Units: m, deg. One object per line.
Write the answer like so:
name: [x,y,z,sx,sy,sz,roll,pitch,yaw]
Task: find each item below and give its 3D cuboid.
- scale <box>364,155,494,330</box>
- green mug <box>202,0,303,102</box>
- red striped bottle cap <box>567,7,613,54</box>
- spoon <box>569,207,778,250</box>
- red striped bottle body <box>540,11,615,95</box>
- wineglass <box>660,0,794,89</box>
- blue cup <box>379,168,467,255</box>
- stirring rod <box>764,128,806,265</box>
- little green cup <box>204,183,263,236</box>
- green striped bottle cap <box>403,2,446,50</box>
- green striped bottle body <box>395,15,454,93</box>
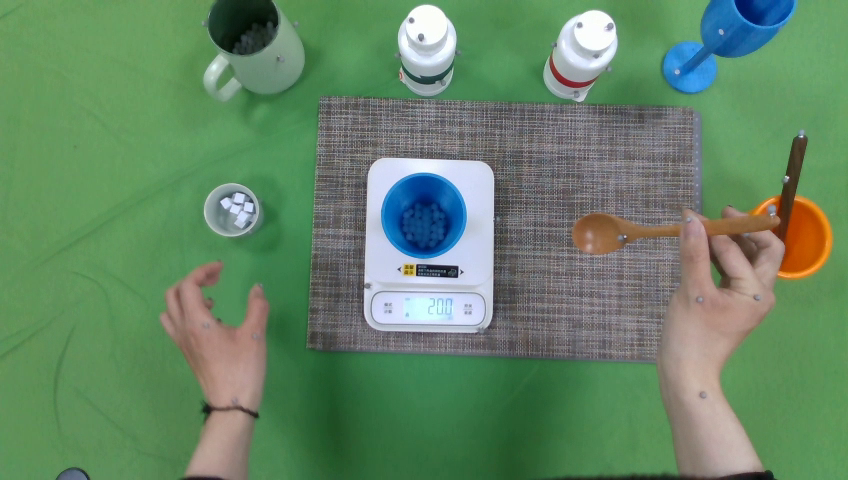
scale: [0.006,0.002,0.697,0.149,0.031,0.200,1,85,0]
green mug: [-0.200,-0.210,0.683,0.092,0.105,0.125,37,86,3]
red striped bottle cap: [0.171,-0.215,0.622,0.044,0.018,0.044,0,82,0]
spoon: [0.200,-0.012,0.515,0.022,0.192,0.042,-18,98,-30]
red striped bottle body: [0.171,-0.211,0.675,0.063,0.120,0.063,0,85,0]
wineglass: [0.316,-0.223,0.649,0.074,0.172,0.073,0,84,1]
blue cup: [0.000,-0.023,0.633,0.092,0.100,0.092,0,86,0]
stirring rod: [0.387,-0.041,0.652,0.014,0.005,0.178,-13,127,0]
little green cup: [-0.217,-0.033,0.700,0.061,0.038,0.061,0,85,-1]
green striped bottle cap: [0.001,-0.219,0.620,0.044,0.020,0.044,0,84,2]
green striped bottle body: [0.001,-0.213,0.675,0.063,0.119,0.063,0,84,0]
